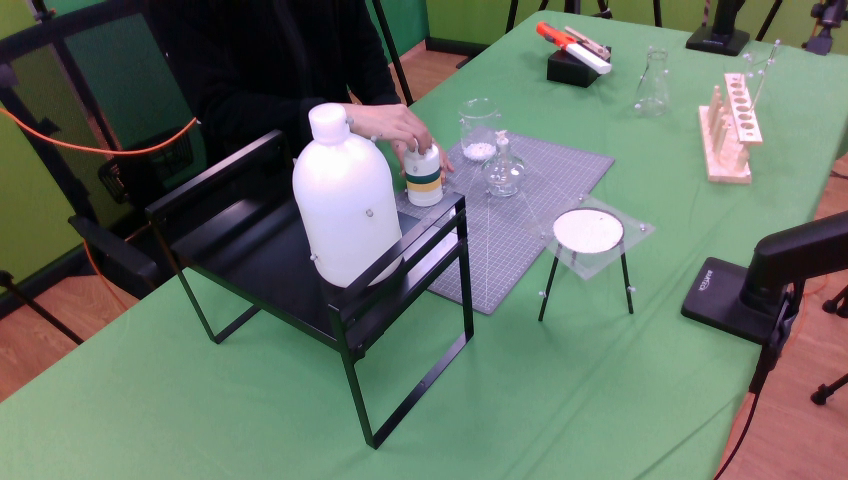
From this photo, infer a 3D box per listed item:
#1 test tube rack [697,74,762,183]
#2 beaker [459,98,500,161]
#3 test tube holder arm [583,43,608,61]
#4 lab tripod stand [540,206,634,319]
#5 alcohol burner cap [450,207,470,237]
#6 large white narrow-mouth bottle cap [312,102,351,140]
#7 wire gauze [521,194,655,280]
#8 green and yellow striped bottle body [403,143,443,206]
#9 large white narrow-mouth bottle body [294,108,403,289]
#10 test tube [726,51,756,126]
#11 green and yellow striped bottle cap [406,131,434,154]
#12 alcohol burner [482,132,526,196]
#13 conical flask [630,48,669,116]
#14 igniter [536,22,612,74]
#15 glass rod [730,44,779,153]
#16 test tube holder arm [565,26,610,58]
[{"bbox_3d":[0.547,-0.208,1.095,0.066,0.085,0.242,5,42,15],"label":"test tube rack"},{"bbox_3d":[0.104,-0.208,1.142,0.074,0.101,0.083,-20,41,-15],"label":"beaker"},{"bbox_3d":[0.379,-0.420,1.341,0.010,0.015,0.087,-39,41,10],"label":"test tube holder arm"},{"bbox_3d":[0.218,0.034,0.821,0.148,0.132,0.147,-4,42,4],"label":"lab tripod stand"},{"bbox_3d":[0.057,-0.032,0.987,0.034,0.048,0.033,-5,41,5],"label":"alcohol burner cap"},{"bbox_3d":[-0.089,-0.114,0.579,0.038,0.024,0.037,-4,39,3],"label":"large white narrow-mouth bottle cap"},{"bbox_3d":[0.207,-0.012,0.772,0.122,0.011,0.124,-28,44,-20],"label":"wire gauze"},{"bbox_3d":[-0.003,-0.123,1.042,0.063,0.120,0.063,-4,40,4],"label":"green and yellow striped bottle body"},{"bbox_3d":[-0.082,-0.047,0.634,0.102,0.195,0.101,-4,39,4],"label":"large white narrow-mouth bottle body"},{"bbox_3d":[0.568,-0.268,1.086,0.017,0.151,0.017,-4,46,4],"label":"test tube"},{"bbox_3d":[-0.007,-0.163,1.008,0.045,0.020,0.045,-5,40,4],"label":"green and yellow striped bottle cap"},{"bbox_3d":[0.137,-0.136,1.042,0.078,0.119,0.077,-4,43,4],"label":"alcohol burner"},{"bbox_3d":[0.456,-0.317,1.205,0.075,0.122,0.075,-4,41,4],"label":"conical flask"},{"bbox_3d":[0.330,-0.439,1.366,0.057,0.025,0.274,-11,41,-20],"label":"igniter"},{"bbox_3d":[0.555,-0.234,1.020,0.008,0.200,0.008,2,40,-1],"label":"glass rod"},{"bbox_3d":[0.369,-0.450,1.373,0.013,0.015,0.177,-39,41,10],"label":"test tube holder arm"}]
